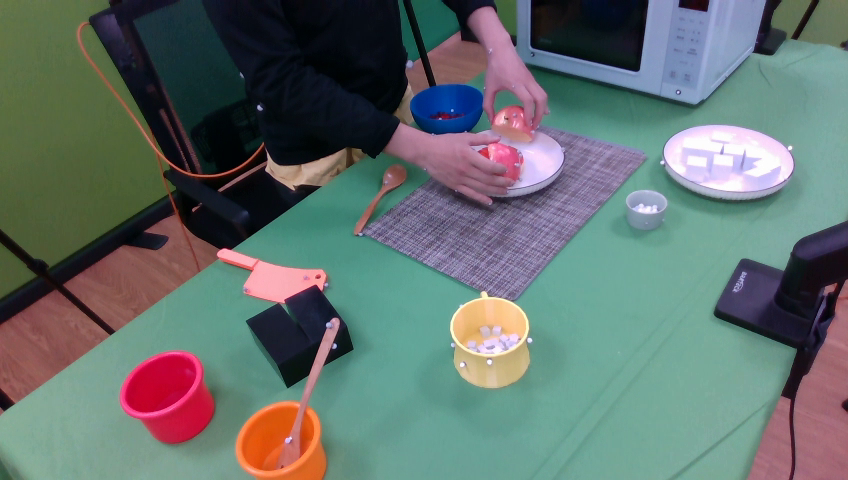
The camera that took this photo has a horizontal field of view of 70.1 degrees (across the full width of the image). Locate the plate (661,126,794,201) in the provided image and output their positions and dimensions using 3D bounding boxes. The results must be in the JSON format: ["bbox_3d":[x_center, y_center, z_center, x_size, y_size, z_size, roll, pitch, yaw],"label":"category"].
[{"bbox_3d":[0.513,-0.128,1.035,0.207,0.039,0.206,-4,40,4],"label":"plate"}]

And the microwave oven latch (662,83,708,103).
[{"bbox_3d":[0.518,-0.296,1.204,0.078,0.029,0.030,27,52,35],"label":"microwave oven latch"}]

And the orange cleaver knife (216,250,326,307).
[{"bbox_3d":[-0.248,0.059,0.945,0.210,0.012,0.077,13,49,20],"label":"orange cleaver knife"}]

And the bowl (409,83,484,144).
[{"bbox_3d":[0.048,-0.245,1.213,0.151,0.077,0.150,-4,40,4],"label":"bowl"}]

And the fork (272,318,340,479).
[{"bbox_3d":[-0.131,0.186,0.676,0.028,0.019,0.207,17,90,28],"label":"fork"}]

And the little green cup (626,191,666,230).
[{"bbox_3d":[0.352,-0.046,0.963,0.061,0.039,0.061,-4,40,4],"label":"little green cup"}]

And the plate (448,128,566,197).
[{"bbox_3d":[0.150,-0.138,1.096,0.209,0.038,0.208,-4,40,4],"label":"plate"}]

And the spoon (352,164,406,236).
[{"bbox_3d":[-0.083,-0.074,1.074,0.041,0.021,0.194,23,46,9],"label":"spoon"}]

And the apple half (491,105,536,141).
[{"bbox_3d":[0.170,-0.219,1.114,0.080,0.075,0.053,16,84,43],"label":"apple half"}]

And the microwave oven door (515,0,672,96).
[{"bbox_3d":[0.343,-0.455,1.259,0.353,0.245,0.039,26,51,33],"label":"microwave oven door"}]

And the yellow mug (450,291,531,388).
[{"bbox_3d":[0.085,0.120,0.786,0.100,0.064,0.130,-7,39,1],"label":"yellow mug"}]

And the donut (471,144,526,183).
[{"bbox_3d":[0.133,-0.139,1.083,0.099,0.048,0.098,-5,39,5],"label":"donut"}]

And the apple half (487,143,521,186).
[{"bbox_3d":[0.139,-0.133,1.005,0.032,0.082,0.081,-24,31,32],"label":"apple half"}]

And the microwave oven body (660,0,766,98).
[{"bbox_3d":[0.472,-0.513,1.317,0.438,0.261,0.327,26,51,34],"label":"microwave oven body"}]
